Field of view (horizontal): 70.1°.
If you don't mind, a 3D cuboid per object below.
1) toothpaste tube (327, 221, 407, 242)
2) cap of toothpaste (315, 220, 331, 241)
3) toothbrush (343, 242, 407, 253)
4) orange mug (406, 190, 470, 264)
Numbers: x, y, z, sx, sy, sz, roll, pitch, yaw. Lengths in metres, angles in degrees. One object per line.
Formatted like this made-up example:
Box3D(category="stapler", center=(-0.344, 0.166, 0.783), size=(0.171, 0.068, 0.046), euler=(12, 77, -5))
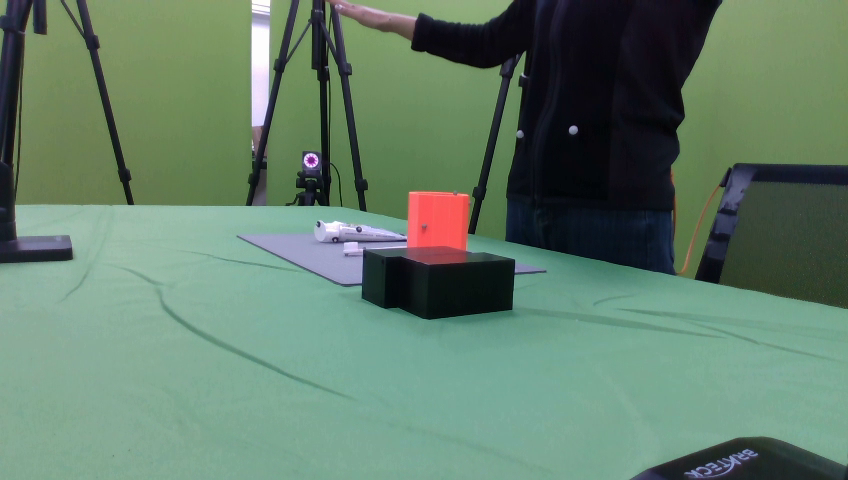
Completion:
Box3D(category="toothpaste tube", center=(-0.095, -0.013, 1.026), size=(0.166, 0.034, 0.055), euler=(2, 13, -33))
Box3D(category="cap of toothpaste", center=(-0.164, -0.016, 0.982), size=(0.011, 0.037, 0.037), euler=(-8, 12, -43))
Box3D(category="toothbrush", center=(-0.039, 0.010, 0.905), size=(0.183, 0.016, 0.014), euler=(-1, -7, -36))
Box3D(category="orange mug", center=(0.027, -0.023, 0.866), size=(0.083, 0.101, 0.126), euler=(6, 12, 24))
